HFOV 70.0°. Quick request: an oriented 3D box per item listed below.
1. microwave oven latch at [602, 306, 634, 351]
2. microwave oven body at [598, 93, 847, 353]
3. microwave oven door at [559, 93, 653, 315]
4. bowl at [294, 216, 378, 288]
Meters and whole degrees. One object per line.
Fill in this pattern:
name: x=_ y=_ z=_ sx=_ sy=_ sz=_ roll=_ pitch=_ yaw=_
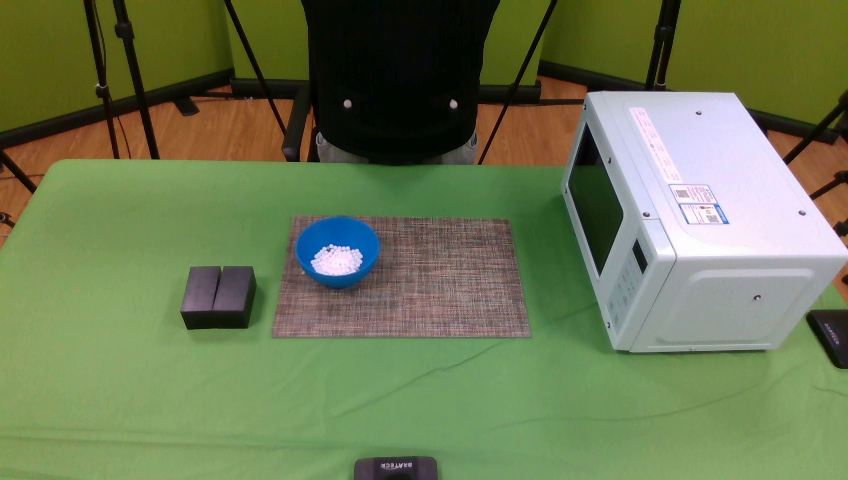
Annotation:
microwave oven latch: x=0.332 y=0.153 z=1.044 sx=0.030 sy=0.029 sz=0.078 roll=0 pitch=45 yaw=-4
microwave oven body: x=0.475 y=-0.041 z=1.109 sx=0.326 sy=0.261 sz=0.438 roll=-1 pitch=45 yaw=-4
microwave oven door: x=0.327 y=-0.074 z=1.123 sx=0.039 sy=0.245 sz=0.353 roll=-1 pitch=46 yaw=-5
bowl: x=-0.158 y=0.036 z=1.110 sx=0.151 sy=0.077 sz=0.150 roll=3 pitch=45 yaw=-2
